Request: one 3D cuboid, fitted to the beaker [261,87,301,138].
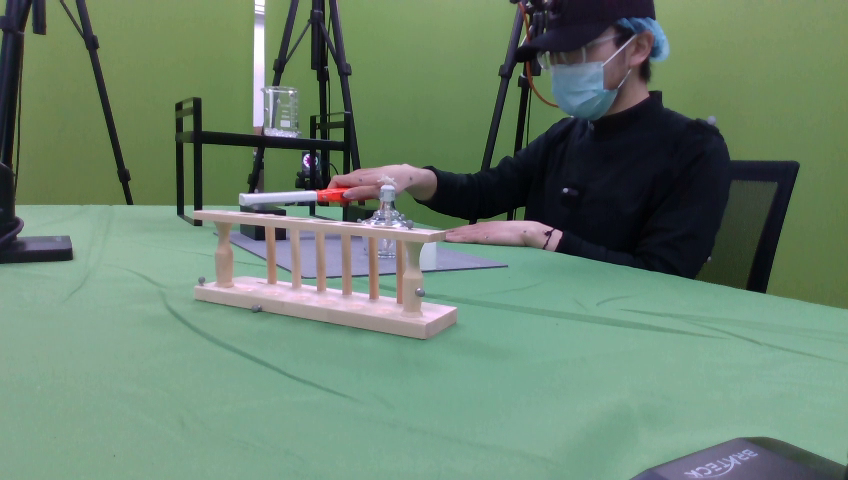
[{"bbox_3d":[-0.298,-0.263,1.255,0.084,0.100,0.073,-5,10,-40],"label":"beaker"}]

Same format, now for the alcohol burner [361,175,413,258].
[{"bbox_3d":[-0.054,-0.033,0.870,0.078,0.119,0.078,1,9,0],"label":"alcohol burner"}]

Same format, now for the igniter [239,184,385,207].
[{"bbox_3d":[-0.187,-0.079,1.073,0.278,0.025,0.057,-8,14,-35],"label":"igniter"}]

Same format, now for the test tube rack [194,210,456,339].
[{"bbox_3d":[-0.093,0.023,0.545,0.241,0.085,0.067,6,8,25],"label":"test tube rack"}]

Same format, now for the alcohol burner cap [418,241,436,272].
[{"bbox_3d":[0.001,0.015,0.787,0.034,0.048,0.034,4,7,0],"label":"alcohol burner cap"}]
